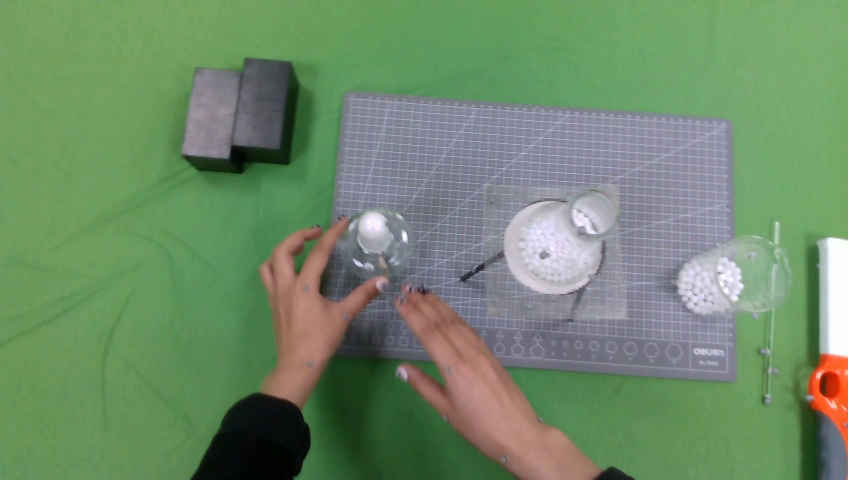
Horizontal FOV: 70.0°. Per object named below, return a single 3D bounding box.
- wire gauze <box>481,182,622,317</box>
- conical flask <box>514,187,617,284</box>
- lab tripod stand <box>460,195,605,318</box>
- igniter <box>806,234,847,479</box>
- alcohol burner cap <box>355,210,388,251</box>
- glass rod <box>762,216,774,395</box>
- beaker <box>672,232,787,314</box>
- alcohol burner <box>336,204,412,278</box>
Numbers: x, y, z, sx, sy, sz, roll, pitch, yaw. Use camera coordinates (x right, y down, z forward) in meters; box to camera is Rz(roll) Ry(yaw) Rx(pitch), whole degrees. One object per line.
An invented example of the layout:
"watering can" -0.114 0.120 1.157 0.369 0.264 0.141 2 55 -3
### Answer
"wire gauze" 0.113 0.007 0.537 0.125 0.011 0.121 1 82 -3
"conical flask" 0.116 -0.009 0.480 0.075 0.122 0.075 0 79 0
"lab tripod stand" 0.112 0.018 0.602 0.148 0.132 0.148 0 81 0
"igniter" 0.434 0.130 0.645 0.057 0.025 0.275 8 80 -10
"alcohol burner cap" -0.051 -0.012 0.577 0.034 0.048 0.033 2 70 -4
"glass rod" 0.379 0.069 0.665 0.008 0.008 0.199 8 79 0
"beaker" 0.309 0.037 0.620 0.084 0.100 0.073 -33 81 -7
"alcohol burner" -0.051 -0.003 0.612 0.078 0.119 0.077 0 77 -2
